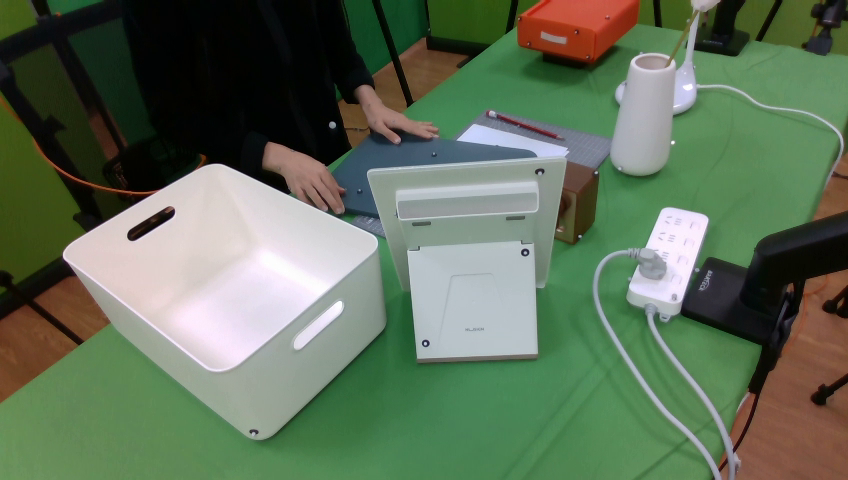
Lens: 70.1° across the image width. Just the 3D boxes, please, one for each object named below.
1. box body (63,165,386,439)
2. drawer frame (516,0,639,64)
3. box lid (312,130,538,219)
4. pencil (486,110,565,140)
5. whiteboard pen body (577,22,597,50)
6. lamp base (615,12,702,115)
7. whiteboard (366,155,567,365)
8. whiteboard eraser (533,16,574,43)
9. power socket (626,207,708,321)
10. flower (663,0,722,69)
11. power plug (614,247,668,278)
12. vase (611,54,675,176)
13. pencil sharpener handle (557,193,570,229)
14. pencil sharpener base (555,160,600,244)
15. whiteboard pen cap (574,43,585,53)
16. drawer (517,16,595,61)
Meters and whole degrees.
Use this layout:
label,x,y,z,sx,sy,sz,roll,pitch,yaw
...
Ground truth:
label,x,y,z,sx,sy,sz,roll,pitch,yaw
box body,-0.257,0.068,0.824,0.361,0.161,0.255,24,49,31
drawer frame,0.356,-0.507,1.410,0.200,0.083,0.214,25,51,32
box lid,0.007,-0.113,1.114,0.369,0.015,0.263,11,44,21
pencil,0.204,-0.232,1.226,0.192,0.012,0.012,29,52,33
whiteboard pen body,0.372,-0.468,1.390,0.017,0.017,0.141,14,47,23
lamp base,0.484,-0.364,1.211,0.180,0.181,0.159,-15,41,-14
whiteboard,0.059,0.050,0.738,0.217,0.307,0.143,-3,60,5
whiteboard eraser,0.305,-0.493,1.423,0.055,0.042,0.113,26,43,25
power socket,0.359,0.025,0.886,0.072,0.033,0.227,16,46,26
flower,0.379,-0.261,0.965,0.044,0.362,0.038,21,53,5
power plug,0.306,0.031,0.851,0.072,0.053,0.035,24,49,33
vase,0.377,-0.209,1.031,0.098,0.201,0.097,-3,40,3
pencil sharpener handle,0.195,-0.038,0.908,0.035,0.068,0.031,24,50,30
pencil sharpener base,0.228,-0.057,0.945,0.061,0.107,0.077,24,50,31
whiteboard pen cap,0.346,-0.430,1.350,0.018,0.018,0.033,15,37,24
drawer,0.353,-0.505,1.404,0.193,0.073,0.212,25,50,33
